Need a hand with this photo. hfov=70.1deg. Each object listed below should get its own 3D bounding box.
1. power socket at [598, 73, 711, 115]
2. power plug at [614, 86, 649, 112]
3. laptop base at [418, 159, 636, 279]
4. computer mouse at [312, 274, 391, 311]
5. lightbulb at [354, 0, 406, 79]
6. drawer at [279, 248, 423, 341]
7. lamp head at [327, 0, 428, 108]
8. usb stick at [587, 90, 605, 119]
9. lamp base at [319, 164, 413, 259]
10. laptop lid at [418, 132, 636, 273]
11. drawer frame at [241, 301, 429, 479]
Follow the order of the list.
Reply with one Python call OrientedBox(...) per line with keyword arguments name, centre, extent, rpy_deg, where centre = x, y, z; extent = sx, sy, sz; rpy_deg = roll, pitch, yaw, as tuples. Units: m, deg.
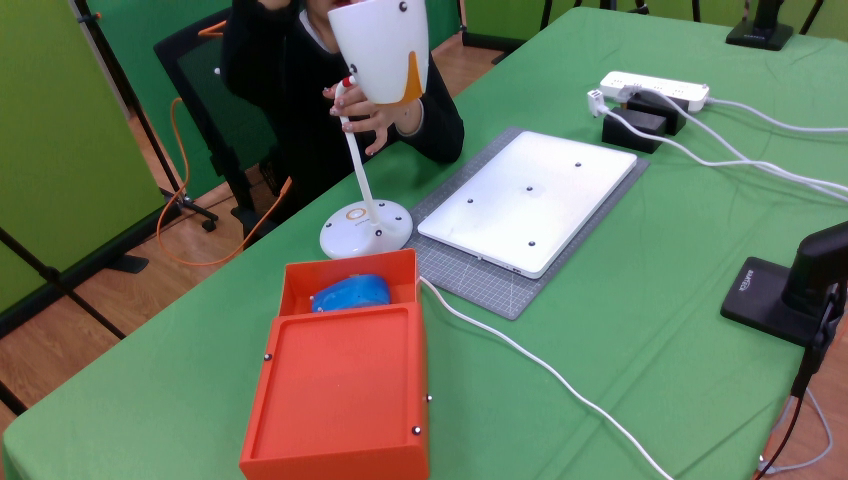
OrientedBox(name="power socket", centre=(0.469, -0.304, 1.249), extent=(0.225, 0.033, 0.072), rpy_deg=(20, 49, 30))
OrientedBox(name="power plug", centre=(0.406, -0.275, 1.192), extent=(0.035, 0.053, 0.072), rpy_deg=(-15, 23, -16))
OrientedBox(name="laptop base", centre=(0.185, -0.074, 1.042), extent=(0.233, 0.023, 0.355), rpy_deg=(19, 48, 35))
OrientedBox(name="computer mouse", centre=(-0.107, 0.086, 0.885), extent=(0.117, 0.041, 0.062), rpy_deg=(-14, 41, 0))
OrientedBox(name="lightbulb", centre=(-0.046, -0.241, 0.699), extent=(0.059, 0.108, 0.059), rpy_deg=(-10, 17, 3))
OrientedBox(name="drawer", centre=(-0.100, 0.114, 0.828), extent=(0.194, 0.073, 0.210), rpy_deg=(-7, 40, 2))
OrientedBox(name="lamp head", centre=(-0.047, -0.217, 0.709), extent=(0.112, 0.123, 0.112), rpy_deg=(-9, 25, 4))
OrientedBox(name="usb stick", centre=(0.334, -0.258, 1.170), extent=(0.021, 0.059, 0.027), rpy_deg=(-28, 43, -6))
OrientedBox(name="lamp base", centre=(-0.102, -0.068, 0.962), extent=(0.161, 0.181, 0.177), rpy_deg=(-30, 46, -21))
OrientedBox(name="laptop lid", centre=(0.182, -0.084, 1.036), extent=(0.239, 0.013, 0.358), rpy_deg=(22, 49, 35))
OrientedBox(name="drawer frame", centre=(-0.096, 0.183, 0.741), extent=(0.202, 0.083, 0.212), rpy_deg=(-6, 40, 3))
